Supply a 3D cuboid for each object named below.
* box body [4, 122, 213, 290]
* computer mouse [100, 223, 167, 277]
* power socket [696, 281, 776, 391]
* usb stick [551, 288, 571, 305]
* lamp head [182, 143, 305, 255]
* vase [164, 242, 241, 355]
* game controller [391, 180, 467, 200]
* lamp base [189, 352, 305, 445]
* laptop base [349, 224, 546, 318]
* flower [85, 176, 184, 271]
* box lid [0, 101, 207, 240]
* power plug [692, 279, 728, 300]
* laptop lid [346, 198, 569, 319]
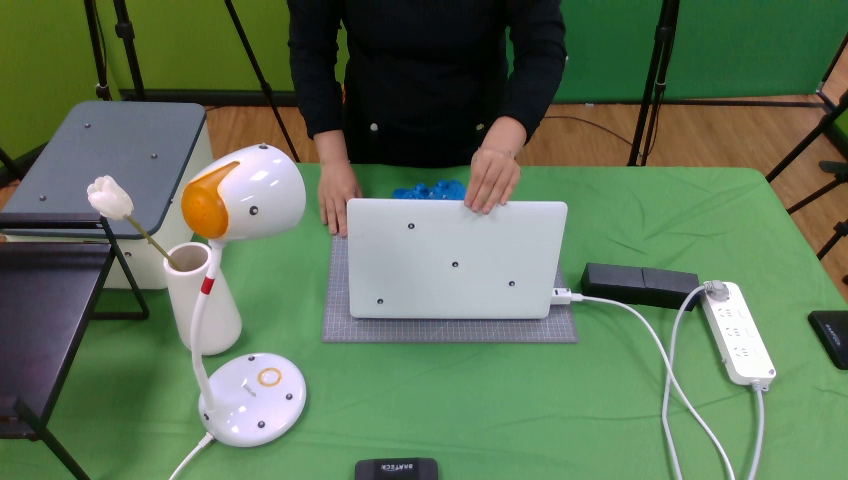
[{"bbox_3d":[-0.563,-0.086,1.138,0.254,0.161,0.361,2,46,-3],"label":"box body"},{"bbox_3d":[-0.539,0.015,1.122,0.062,0.041,0.117,30,57,18],"label":"computer mouse"},{"bbox_3d":[0.550,0.160,1.078,0.072,0.033,0.225,2,46,-1],"label":"power socket"},{"bbox_3d":[0.236,0.103,1.101,0.059,0.027,0.021,-2,46,1],"label":"usb stick"},{"bbox_3d":[-0.216,-0.044,0.697,0.112,0.113,0.123,23,31,17],"label":"lamp head"},{"bbox_3d":[-0.349,0.096,0.954,0.098,0.201,0.097,3,47,-3],"label":"vase"},{"bbox_3d":[0.016,-0.092,1.273,0.155,0.052,0.096,-11,52,-14],"label":"game controller"},{"bbox_3d":[-0.268,0.197,0.876,0.160,0.181,0.179,26,52,20],"label":"lamp base"},{"bbox_3d":[0.040,0.056,1.149,0.355,0.023,0.234,0,43,-4],"label":"laptop base"},{"bbox_3d":[-0.365,0.038,0.894,0.038,0.364,0.044,-4,53,15],"label":"flower"},{"bbox_3d":[-0.559,-0.137,1.083,0.263,0.015,0.369,2,46,-2],"label":"box lid"},{"bbox_3d":[0.522,0.091,1.115,0.072,0.053,0.035,10,47,7],"label":"power plug"},{"bbox_3d":[0.050,0.037,1.001,0.357,0.242,0.013,2,32,-5],"label":"laptop lid"}]
